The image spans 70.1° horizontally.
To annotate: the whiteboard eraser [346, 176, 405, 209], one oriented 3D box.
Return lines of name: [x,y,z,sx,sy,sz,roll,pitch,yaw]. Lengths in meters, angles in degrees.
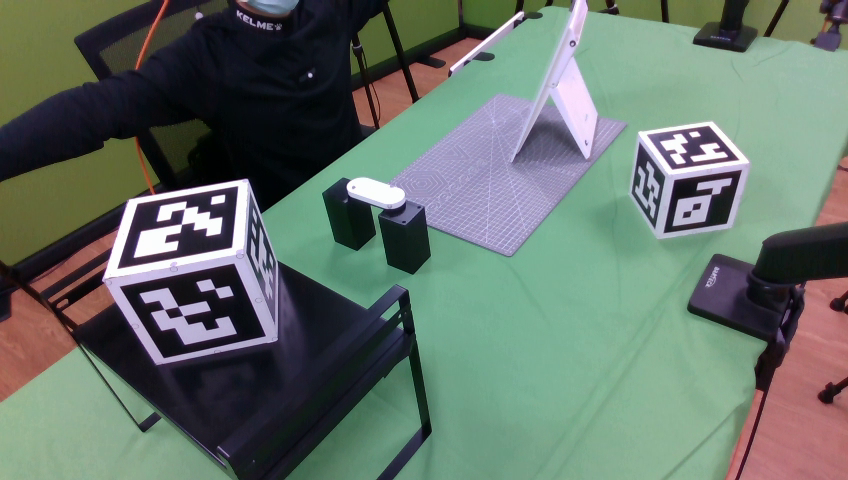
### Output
whiteboard eraser: [-0.073,-0.072,0.909,0.100,0.019,0.041,20,49,29]

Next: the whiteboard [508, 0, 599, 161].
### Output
whiteboard: [0.285,-0.289,1.088,0.144,0.305,0.217,22,45,3]
